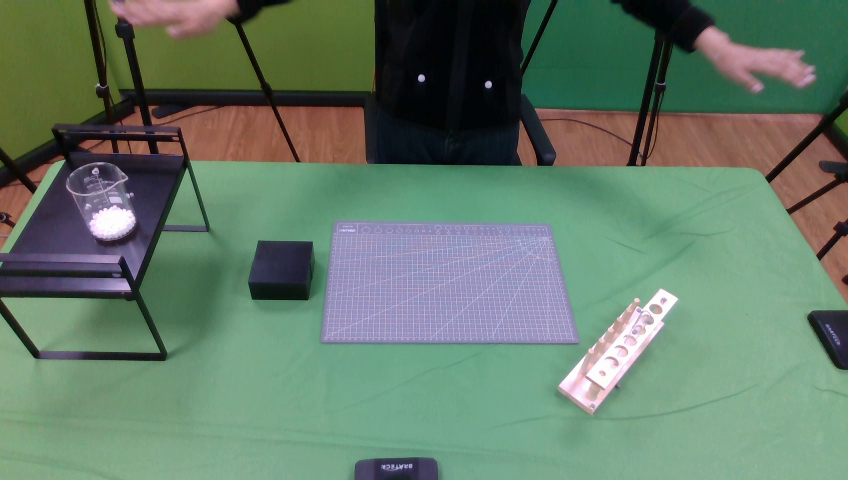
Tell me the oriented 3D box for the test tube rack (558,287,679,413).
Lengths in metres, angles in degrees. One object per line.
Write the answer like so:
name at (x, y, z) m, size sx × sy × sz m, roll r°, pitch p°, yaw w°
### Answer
test tube rack at (0.326, 0.170, 1.009) m, size 0.066 × 0.085 × 0.242 m, roll 35°, pitch 54°, yaw 26°

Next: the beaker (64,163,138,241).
beaker at (-0.478, -0.055, 0.910) m, size 0.084 × 0.101 × 0.073 m, roll -9°, pitch 48°, yaw -13°

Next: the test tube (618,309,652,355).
test tube at (0.328, 0.155, 0.955) m, size 0.017 × 0.151 × 0.017 m, roll 1°, pitch 50°, yaw -1°
